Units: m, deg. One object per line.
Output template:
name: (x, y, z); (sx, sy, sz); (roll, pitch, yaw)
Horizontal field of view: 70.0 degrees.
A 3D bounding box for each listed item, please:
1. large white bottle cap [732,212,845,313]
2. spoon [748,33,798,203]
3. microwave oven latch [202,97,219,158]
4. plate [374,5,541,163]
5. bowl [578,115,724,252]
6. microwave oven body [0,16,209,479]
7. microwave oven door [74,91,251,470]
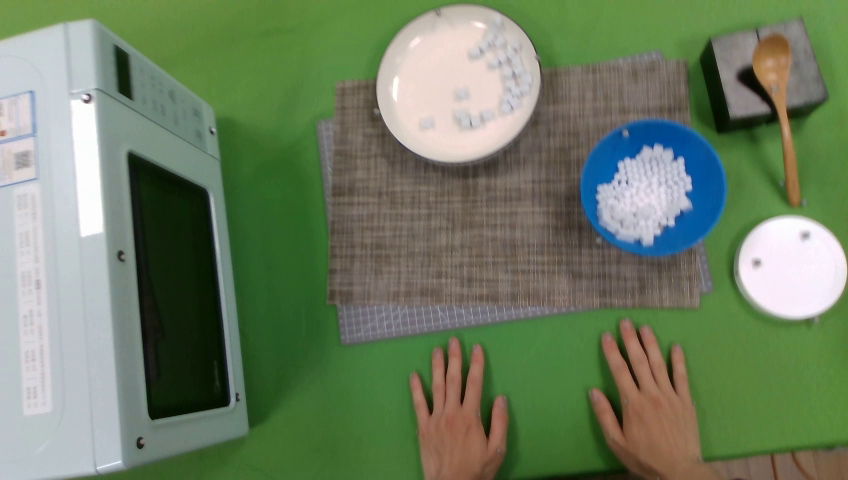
large white bottle cap: (0.411, 0.026, 0.684); (0.114, 0.018, 0.114); (-1, 81, 8)
spoon: (0.396, -0.132, 0.674); (0.041, 0.021, 0.194); (-16, 101, 5)
microwave oven latch: (-0.294, -0.148, 0.804); (0.030, 0.029, 0.079); (-12, 80, 7)
plate: (0.042, -0.193, 0.768); (0.209, 0.038, 0.208); (-2, 80, 10)
bowl: (0.250, -0.055, 0.690); (0.151, 0.077, 0.151); (-2, 81, 10)
microwave oven body: (-0.427, 0.035, 0.698); (0.326, 0.261, 0.439); (-11, 80, 7)
microwave oven door: (-0.278, 0.047, 0.666); (0.039, 0.245, 0.354); (-11, 79, 8)
